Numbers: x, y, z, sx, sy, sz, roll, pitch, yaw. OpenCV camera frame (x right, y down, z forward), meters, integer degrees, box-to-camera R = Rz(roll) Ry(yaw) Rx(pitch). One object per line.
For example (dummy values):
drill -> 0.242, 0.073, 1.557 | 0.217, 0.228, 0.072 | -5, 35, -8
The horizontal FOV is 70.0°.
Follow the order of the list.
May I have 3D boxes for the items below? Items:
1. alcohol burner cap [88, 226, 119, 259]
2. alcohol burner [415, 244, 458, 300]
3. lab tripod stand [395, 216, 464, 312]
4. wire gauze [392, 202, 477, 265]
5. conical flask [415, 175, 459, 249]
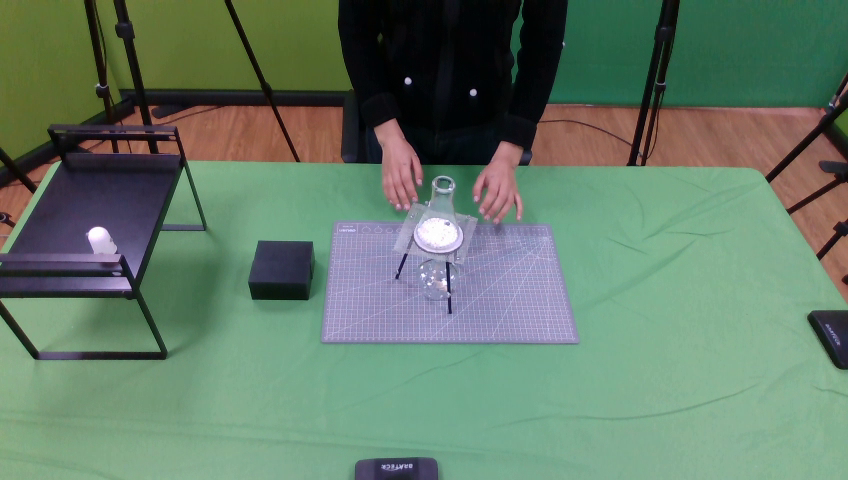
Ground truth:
alcohol burner cap -> -0.476, 0.002, 0.895 | 0.034, 0.048, 0.033 | 1, 47, -1
alcohol burner -> 0.024, 0.051, 1.084 | 0.078, 0.119, 0.077 | 3, 45, -3
lab tripod stand -> 0.023, 0.037, 1.084 | 0.148, 0.132, 0.147 | 4, 47, -4
wire gauze -> 0.021, -0.011, 1.037 | 0.121, 0.011, 0.124 | 13, 49, 8
conical flask -> 0.026, -0.049, 0.993 | 0.075, 0.122, 0.075 | 3, 47, -3
